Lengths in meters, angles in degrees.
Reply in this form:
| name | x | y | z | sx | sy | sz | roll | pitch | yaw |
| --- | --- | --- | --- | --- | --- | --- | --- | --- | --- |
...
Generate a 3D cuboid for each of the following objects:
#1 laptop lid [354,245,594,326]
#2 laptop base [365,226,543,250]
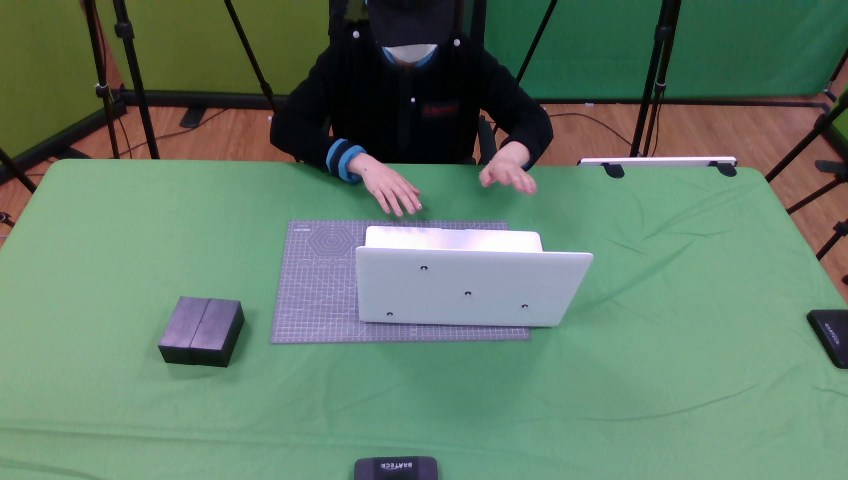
| name | x | y | z | sx | sy | sz | roll | pitch | yaw |
| --- | --- | --- | --- | --- | --- | --- | --- | --- | --- |
| laptop lid | 0.069 | 0.080 | 0.964 | 0.357 | 0.243 | 0.013 | 2 | 55 | -4 |
| laptop base | 0.061 | 0.063 | 1.145 | 0.355 | 0.023 | 0.234 | 2 | 43 | -3 |
